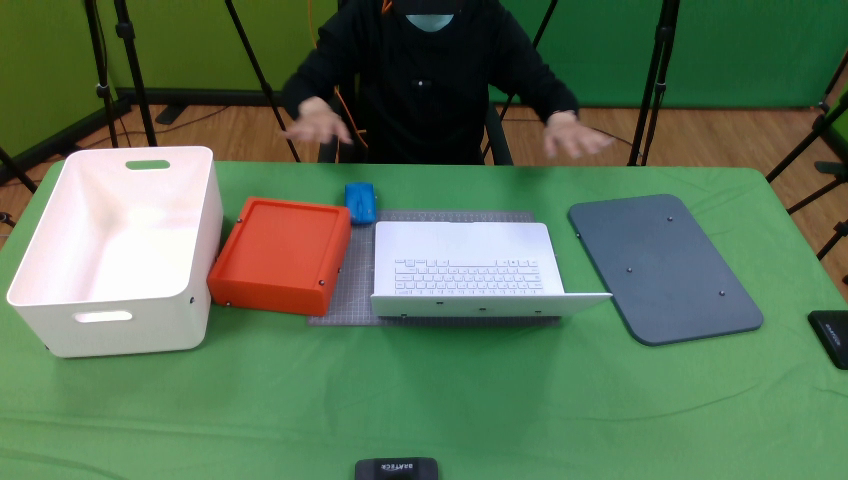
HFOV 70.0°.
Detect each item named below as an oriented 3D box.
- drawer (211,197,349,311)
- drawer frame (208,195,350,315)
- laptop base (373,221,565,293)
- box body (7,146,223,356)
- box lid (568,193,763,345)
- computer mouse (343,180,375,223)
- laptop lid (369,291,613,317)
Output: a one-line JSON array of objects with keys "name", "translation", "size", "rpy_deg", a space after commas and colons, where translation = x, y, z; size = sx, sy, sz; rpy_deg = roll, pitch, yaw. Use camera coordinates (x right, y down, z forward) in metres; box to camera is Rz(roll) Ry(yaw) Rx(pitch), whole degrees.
[{"name": "drawer", "translation": [-0.255, 0.022, 1.114], "size": [0.194, 0.073, 0.210], "rpy_deg": [7, 47, 3]}, {"name": "drawer frame", "translation": [-0.256, 0.023, 1.112], "size": [0.202, 0.083, 0.212], "rpy_deg": [7, 47, 3]}, {"name": "laptop base", "translation": [0.080, 0.049, 1.159], "size": [0.355, 0.023, 0.234], "rpy_deg": [0, 43, -4]}, {"name": "box body", "translation": [-0.499, 0.012, 1.051], "size": [0.254, 0.161, 0.361], "rpy_deg": [-3, 47, -7]}, {"name": "box lid", "translation": [0.465, 0.040, 1.203], "size": [0.264, 0.015, 0.369], "rpy_deg": [-7, 47, -11]}, {"name": "computer mouse", "translation": [-0.135, -0.083, 1.253], "size": [0.063, 0.041, 0.116], "rpy_deg": [0, 47, -8]}, {"name": "laptop lid", "translation": [0.092, 0.104, 0.965], "size": [0.357, 0.242, 0.013], "rpy_deg": [0, 76, -5]}]
